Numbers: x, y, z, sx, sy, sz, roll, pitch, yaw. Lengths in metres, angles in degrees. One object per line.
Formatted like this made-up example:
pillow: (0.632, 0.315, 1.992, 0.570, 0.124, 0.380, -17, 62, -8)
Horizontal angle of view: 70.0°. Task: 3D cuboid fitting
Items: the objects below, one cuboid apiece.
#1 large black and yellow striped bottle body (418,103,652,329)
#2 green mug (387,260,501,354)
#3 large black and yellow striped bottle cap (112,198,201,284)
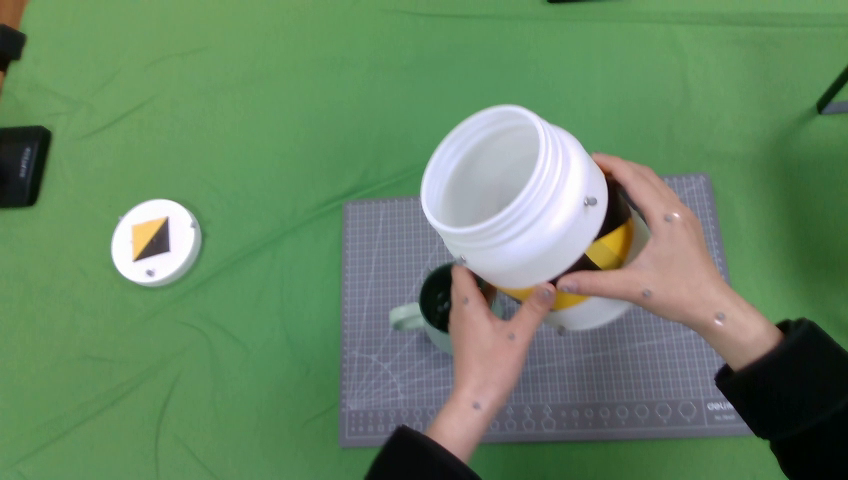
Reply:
large black and yellow striped bottle body: (0.093, -0.016, 0.497, 0.130, 0.186, 0.129, -22, 51, 31)
green mug: (0.021, 0.077, 0.662, 0.125, 0.105, 0.092, -11, 71, 4)
large black and yellow striped bottle cap: (-0.349, 0.000, 0.787, 0.115, 0.019, 0.114, -2, 71, 7)
